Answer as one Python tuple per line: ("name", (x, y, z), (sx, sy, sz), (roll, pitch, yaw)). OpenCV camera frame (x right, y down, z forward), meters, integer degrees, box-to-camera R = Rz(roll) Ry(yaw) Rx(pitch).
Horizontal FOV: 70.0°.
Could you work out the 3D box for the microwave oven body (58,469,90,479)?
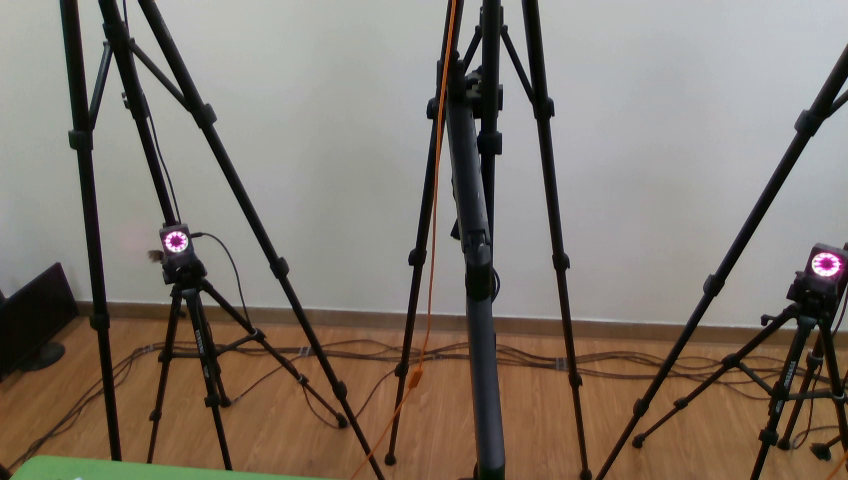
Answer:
("microwave oven body", (-0.458, 0.534, 0.641), (0.323, 0.262, 0.441), (19, 38, 29))
